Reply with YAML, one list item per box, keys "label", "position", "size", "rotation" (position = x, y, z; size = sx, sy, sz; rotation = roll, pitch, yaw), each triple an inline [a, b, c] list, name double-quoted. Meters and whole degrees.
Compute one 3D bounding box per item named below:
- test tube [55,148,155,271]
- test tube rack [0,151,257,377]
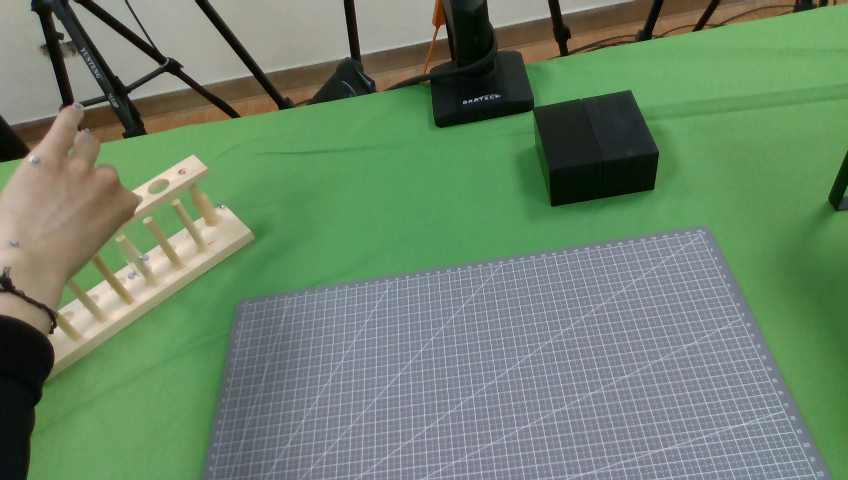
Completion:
- label: "test tube"
  position: [-0.286, -0.024, 0.550]
  size: [0.017, 0.152, 0.017]
  rotation: [-5, 48, 6]
- label: "test tube rack"
  position: [-0.299, 0.019, 0.604]
  size: [0.242, 0.086, 0.066]
  rotation: [-37, 51, -19]
